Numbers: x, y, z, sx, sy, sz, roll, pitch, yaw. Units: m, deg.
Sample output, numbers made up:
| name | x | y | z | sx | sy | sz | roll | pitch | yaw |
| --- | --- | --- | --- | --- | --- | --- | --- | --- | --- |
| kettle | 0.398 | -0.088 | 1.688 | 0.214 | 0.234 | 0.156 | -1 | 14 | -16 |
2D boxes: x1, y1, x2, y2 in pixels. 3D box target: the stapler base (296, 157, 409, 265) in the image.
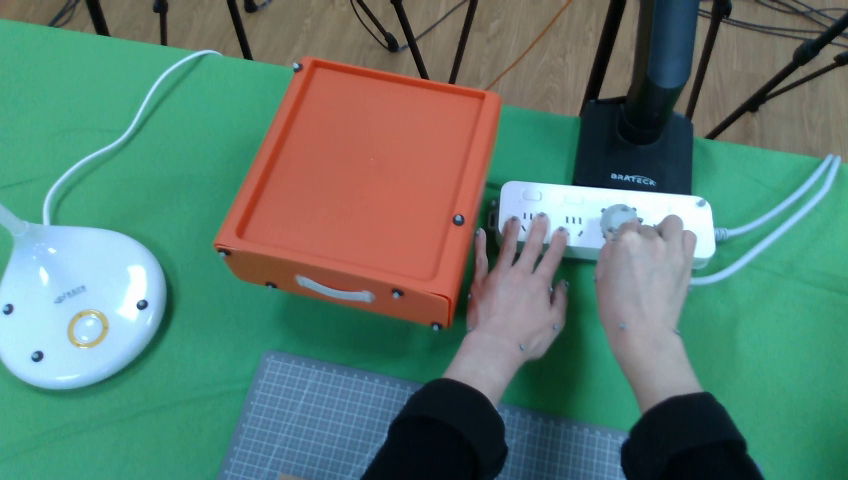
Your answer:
| name | x | y | z | sx | sy | sz | roll | pitch | yaw |
| --- | --- | --- | --- | --- | --- | --- | --- | --- | --- |
| stapler base | -0.070 | -0.031 | 0.561 | 0.129 | 0.024 | 0.041 | 41 | 87 | 22 |

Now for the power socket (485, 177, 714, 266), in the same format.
| name | x | y | z | sx | sy | sz | roll | pitch | yaw |
| --- | --- | --- | --- | --- | --- | --- | --- | --- | --- |
| power socket | 0.176 | -0.019 | 0.609 | 0.226 | 0.033 | 0.071 | 6 | 64 | 3 |

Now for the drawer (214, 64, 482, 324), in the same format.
| name | x | y | z | sx | sy | sz | roll | pitch | yaw |
| --- | --- | --- | --- | --- | --- | --- | --- | --- | --- |
| drawer | -0.051 | -0.047 | 0.550 | 0.194 | 0.074 | 0.210 | 12 | 63 | 8 |

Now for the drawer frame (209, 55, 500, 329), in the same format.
| name | x | y | z | sx | sy | sz | roll | pitch | yaw |
| --- | --- | --- | --- | --- | --- | --- | --- | --- | --- |
| drawer frame | -0.052 | -0.050 | 0.551 | 0.201 | 0.083 | 0.212 | 12 | 63 | 7 |

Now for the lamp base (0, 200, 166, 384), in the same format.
| name | x | y | z | sx | sy | sz | roll | pitch | yaw |
| --- | --- | --- | --- | --- | --- | --- | --- | --- | --- |
| lamp base | -0.339 | 0.015 | 0.515 | 0.160 | 0.182 | 0.178 | -40 | 66 | -18 |

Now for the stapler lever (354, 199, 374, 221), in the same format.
| name | x | y | z | sx | sy | sz | roll | pitch | yaw |
| --- | --- | --- | --- | --- | --- | --- | --- | --- | --- |
| stapler lever | -0.079 | -0.039 | 0.537 | 0.117 | 0.040 | 0.027 | 41 | 87 | 23 |

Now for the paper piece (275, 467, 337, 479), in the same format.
| name | x | y | z | sx | sy | sz | roll | pitch | yaw |
| --- | --- | --- | --- | --- | --- | --- | --- | --- | --- |
| paper piece | -0.073 | 0.263 | 0.480 | 0.136 | 0.009 | 0.137 | 10 | 64 | 9 |

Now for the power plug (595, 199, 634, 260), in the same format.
| name | x | y | z | sx | sy | sz | roll | pitch | yaw |
| --- | --- | --- | --- | --- | --- | --- | --- | --- | --- |
| power plug | 0.173 | -0.007 | 0.567 | 0.035 | 0.053 | 0.072 | 21 | 65 | 18 |
